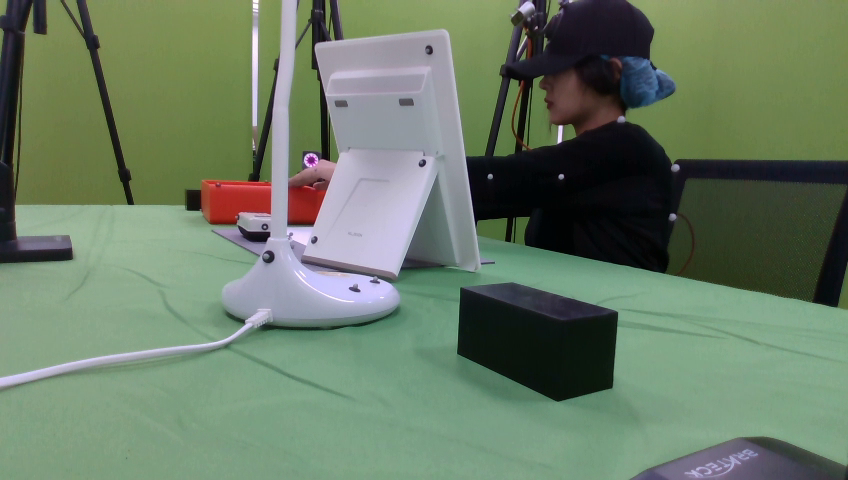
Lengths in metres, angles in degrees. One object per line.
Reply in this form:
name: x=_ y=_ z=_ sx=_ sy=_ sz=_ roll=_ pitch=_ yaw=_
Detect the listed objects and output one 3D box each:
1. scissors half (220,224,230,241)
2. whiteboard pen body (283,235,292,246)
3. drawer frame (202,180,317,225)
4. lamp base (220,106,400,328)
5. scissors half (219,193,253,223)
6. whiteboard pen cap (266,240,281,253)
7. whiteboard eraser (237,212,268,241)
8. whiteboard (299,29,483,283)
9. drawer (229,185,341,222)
scissors half: x=-0.405 y=-0.055 z=1.300 sx=0.013 sy=0.040 sz=0.175 roll=9 pitch=39 yaw=3
whiteboard pen body: x=-0.206 y=0.005 z=0.872 sx=0.017 sy=0.017 sz=0.140 roll=2 pitch=4 yaw=-6
drawer frame: x=-0.356 y=-0.084 z=1.300 sx=0.214 sy=0.082 sz=0.200 roll=-2 pitch=9 yaw=-25
lamp base: x=-0.101 y=-0.023 z=0.531 sx=0.160 sy=0.180 sz=0.179 roll=4 pitch=10 yaw=10
scissors half: x=-0.404 y=-0.066 z=1.295 sx=0.013 sy=0.040 sz=0.175 roll=2 pitch=22 yaw=5
whiteboard pen cap: x=-0.202 y=0.009 z=0.813 sx=0.018 sy=0.018 sz=0.033 roll=1 pitch=3 yaw=-8
whiteboard eraser: x=-0.272 y=-0.023 z=0.998 sx=0.056 sy=0.042 sz=0.112 roll=-3 pitch=9 yaw=-26
whiteboard: x=-0.074 y=-0.082 z=0.742 sx=0.216 sy=0.305 sz=0.144 roll=9 pitch=29 yaw=38
drawer: x=-0.308 y=-0.084 z=1.322 sx=0.213 sy=0.073 sz=0.193 roll=-1 pitch=9 yaw=-24
